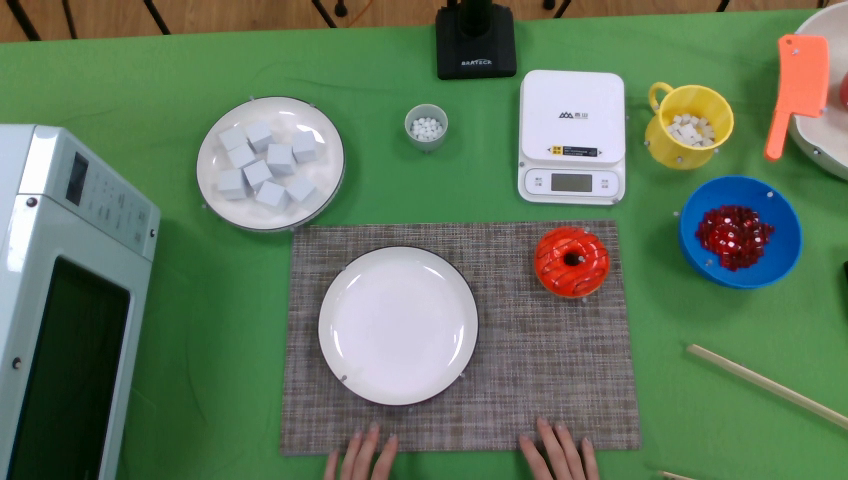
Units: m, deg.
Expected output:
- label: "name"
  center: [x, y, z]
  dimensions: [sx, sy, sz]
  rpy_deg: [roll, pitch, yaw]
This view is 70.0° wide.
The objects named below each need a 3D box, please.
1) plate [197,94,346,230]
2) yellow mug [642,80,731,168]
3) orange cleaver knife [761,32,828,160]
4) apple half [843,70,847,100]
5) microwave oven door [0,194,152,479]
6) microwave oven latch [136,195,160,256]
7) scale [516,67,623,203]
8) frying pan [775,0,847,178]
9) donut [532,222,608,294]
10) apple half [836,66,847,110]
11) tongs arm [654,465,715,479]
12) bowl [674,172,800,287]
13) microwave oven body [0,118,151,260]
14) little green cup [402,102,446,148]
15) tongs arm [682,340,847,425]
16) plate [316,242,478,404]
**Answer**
- label: "plate"
  center: [-0.213, -0.108, 0.862]
  dimensions: [0.207, 0.039, 0.206]
  rpy_deg: [0, 72, 1]
- label: "yellow mug"
  center: [0.356, -0.172, 0.851]
  dimensions: [0.100, 0.064, 0.130]
  rpy_deg: [-32, 73, -8]
- label: "orange cleaver knife"
  center: [0.501, -0.197, 0.816]
  dimensions: [0.077, 0.012, 0.210]
  rpy_deg: [17, 74, 7]
- label: "apple half"
  center: [0.640, -0.220, 0.850]
  dimensions: [0.053, 0.075, 0.080]
  rpy_deg: [-9, 68, -5]
- label: "microwave oven door"
  center: [-0.393, 0.157, 0.657]
  dimensions: [0.039, 0.245, 0.353]
  rpy_deg: [1, 72, 2]
- label: "microwave oven latch"
  center: [-0.379, -0.020, 0.819]
  dimensions: [0.030, 0.029, 0.078]
  rpy_deg: [3, 73, 2]
- label: "scale"
  center: [0.209, -0.152, 0.867]
  dimensions: [0.148, 0.032, 0.199]
  rpy_deg: [3, 73, 3]
- label: "frying pan"
  center: [0.681, -0.121, 0.806]
  dimensions: [0.307, 0.103, 0.483]
  rpy_deg: [-27, 66, -6]
- label: "donut"
  center: [0.192, 0.024, 0.802]
  dimensions: [0.099, 0.048, 0.098]
  rpy_deg: [-1, 73, 3]
- label: "apple half"
  center: [0.602, -0.213, 0.847]
  dimensions: [0.033, 0.081, 0.080]
  rpy_deg: [-9, 72, -5]
- label: "tongs arm"
  center: [0.471, 0.297, 0.715]
  dimensions: [0.384, 0.027, 0.050]
  rpy_deg: [13, 69, 6]
- label: "bowl"
  center: [0.394, -0.005, 0.792]
  dimensions: [0.151, 0.077, 0.150]
  rpy_deg: [0, 73, 2]
- label: "microwave oven body"
  center: [-0.537, 0.115, 0.679]
  dimensions: [0.326, 0.261, 0.439]
  rpy_deg: [1, 73, 2]
- label: "little green cup"
  center: [0.001, -0.164, 0.873]
  dimensions: [0.061, 0.039, 0.061]
  rpy_deg: [-1, 72, 2]
- label: "tongs arm"
  center: [0.501, 0.221, 0.742]
  dimensions: [0.386, 0.028, 0.028]
  rpy_deg: [28, 67, 10]
- label: "plate"
  center: [-0.034, 0.106, 0.785]
  dimensions: [0.209, 0.038, 0.208]
  rpy_deg: [0, 73, 2]
